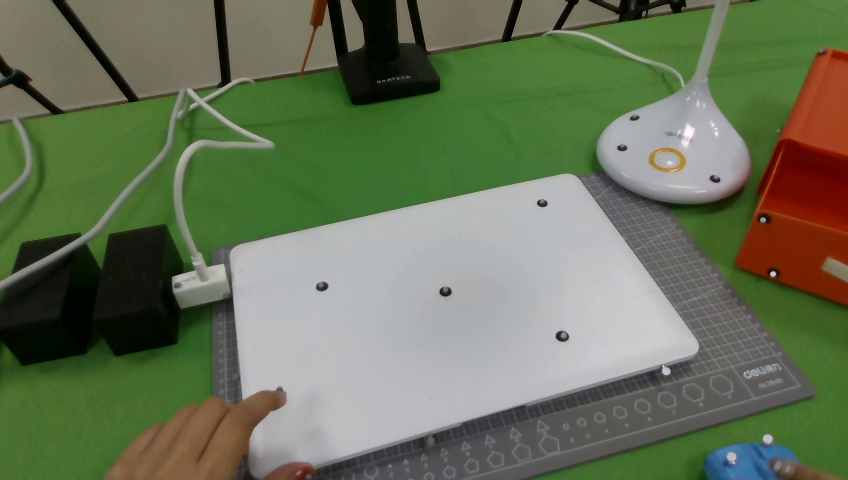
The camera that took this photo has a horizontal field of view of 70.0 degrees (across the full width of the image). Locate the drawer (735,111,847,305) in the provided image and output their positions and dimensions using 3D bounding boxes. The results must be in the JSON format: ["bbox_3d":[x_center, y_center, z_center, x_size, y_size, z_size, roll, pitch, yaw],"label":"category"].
[{"bbox_3d":[0.417,-0.028,0.554,0.193,0.074,0.211,22,49,24],"label":"drawer"}]

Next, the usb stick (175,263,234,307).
[{"bbox_3d":[-0.186,0.038,0.535,0.059,0.027,0.021,-12,44,-16],"label":"usb stick"}]

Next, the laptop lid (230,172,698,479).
[{"bbox_3d":[0.020,0.047,0.519,0.357,0.013,0.239,-12,47,-9],"label":"laptop lid"}]

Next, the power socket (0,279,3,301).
[{"bbox_3d":[-0.396,0.103,0.486,0.072,0.033,0.224,-13,45,-13],"label":"power socket"}]

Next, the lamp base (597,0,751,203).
[{"bbox_3d":[0.273,-0.158,0.618,0.160,0.182,0.178,15,43,18],"label":"lamp base"}]

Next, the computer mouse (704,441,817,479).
[{"bbox_3d":[0.227,0.179,0.381,0.063,0.041,0.116,-5,41,1],"label":"computer mouse"}]

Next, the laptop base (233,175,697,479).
[{"bbox_3d":[0.020,0.054,0.529,0.355,0.023,0.233,-13,49,-11],"label":"laptop base"}]

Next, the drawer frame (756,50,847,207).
[{"bbox_3d":[0.476,-0.096,0.617,0.200,0.083,0.213,23,49,24],"label":"drawer frame"}]
